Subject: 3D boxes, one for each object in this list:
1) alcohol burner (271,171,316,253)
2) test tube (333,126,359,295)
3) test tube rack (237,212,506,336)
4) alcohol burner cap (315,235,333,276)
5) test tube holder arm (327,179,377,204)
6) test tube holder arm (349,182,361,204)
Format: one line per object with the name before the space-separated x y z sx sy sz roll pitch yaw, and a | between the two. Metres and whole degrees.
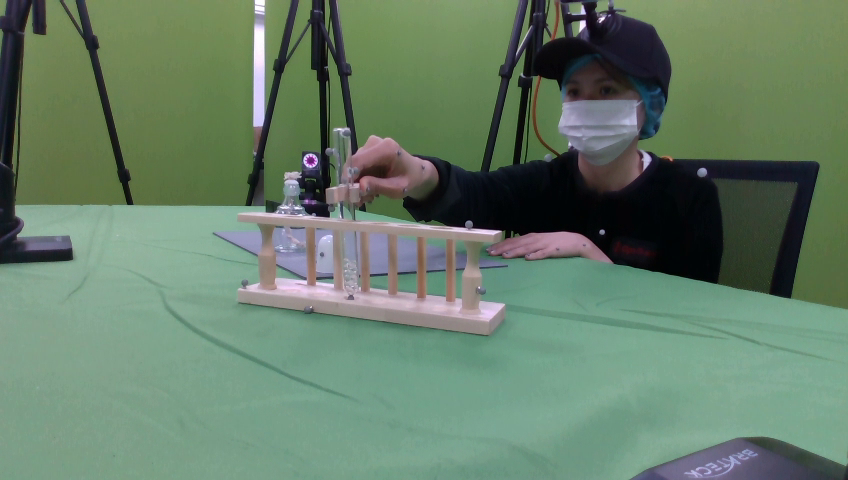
alcohol burner | -0.196 -0.041 0.884 0.078 0.119 0.078 3 5 0
test tube | -0.068 -0.024 0.534 0.017 0.150 0.017 -2 9 1
test tube rack | -0.049 0.024 0.552 0.242 0.085 0.067 5 8 18
alcohol burner cap | -0.116 0.018 0.728 0.034 0.048 0.034 3 6 0
test tube holder arm | -0.068 -0.051 0.603 0.013 0.015 0.178 3 9 5
test tube holder arm | -0.064 -0.044 0.558 0.010 0.015 0.087 0 9 -7
